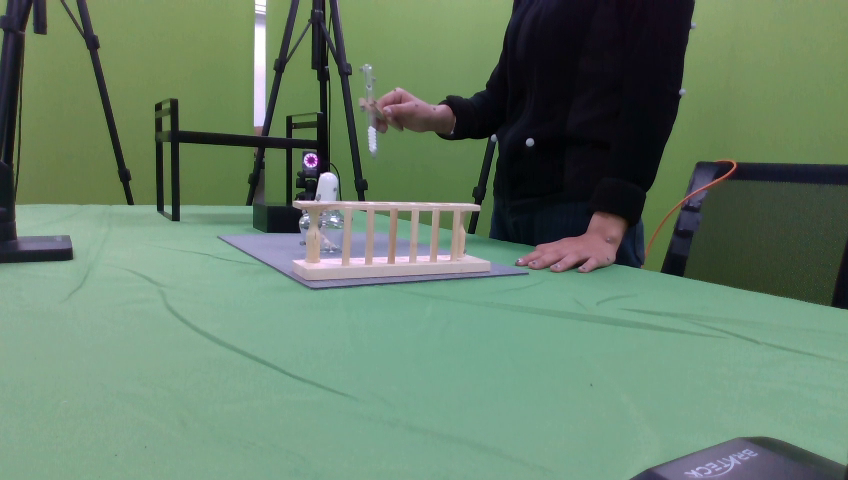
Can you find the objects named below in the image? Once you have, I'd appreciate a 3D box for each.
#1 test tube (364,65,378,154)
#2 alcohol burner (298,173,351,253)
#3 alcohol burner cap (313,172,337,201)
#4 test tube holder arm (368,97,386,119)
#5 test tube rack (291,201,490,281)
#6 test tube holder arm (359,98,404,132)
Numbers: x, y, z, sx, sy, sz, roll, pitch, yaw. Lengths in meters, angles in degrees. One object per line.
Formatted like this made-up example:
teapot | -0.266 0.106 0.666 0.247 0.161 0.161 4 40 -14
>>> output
test tube | -0.089 -0.217 1.007 0.017 0.150 0.017 -4 -4 0
alcohol burner | -0.146 -0.040 0.894 0.078 0.119 0.078 5 7 0
alcohol burner cap | -0.144 -0.076 0.888 0.034 0.048 0.034 8 6 -1
test tube holder arm | -0.079 -0.224 1.029 0.010 0.015 0.088 -3 -5 10
test tube rack | -0.035 -0.002 0.745 0.243 0.085 0.066 -1 8 -28
test tube holder arm | -0.073 -0.220 1.073 0.013 0.015 0.179 -3 -5 18
